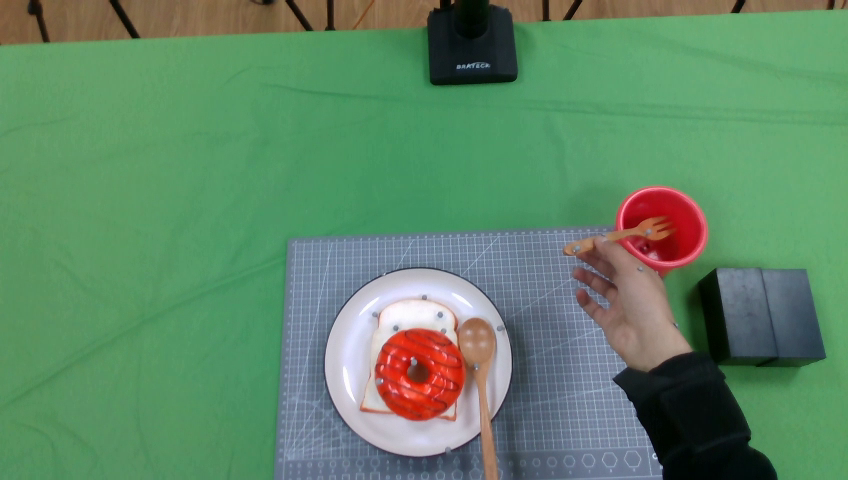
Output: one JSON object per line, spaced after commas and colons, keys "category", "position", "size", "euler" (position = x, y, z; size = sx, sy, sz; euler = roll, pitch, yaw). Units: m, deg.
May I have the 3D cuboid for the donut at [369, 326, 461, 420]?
{"category": "donut", "position": [-0.009, 0.139, 0.641], "size": [0.099, 0.048, 0.098], "euler": [1, 73, -2]}

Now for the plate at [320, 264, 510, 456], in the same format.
{"category": "plate", "position": [-0.009, 0.131, 0.673], "size": [0.209, 0.038, 0.207], "euler": [0, 69, 1]}

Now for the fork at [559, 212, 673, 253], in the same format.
{"category": "fork", "position": [0.210, -0.007, 0.648], "size": [0.208, 0.018, 0.028], "euler": [-10, 70, -42]}

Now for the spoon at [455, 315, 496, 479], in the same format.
{"category": "spoon", "position": [0.059, 0.170, 0.642], "size": [0.041, 0.022, 0.192], "euler": [-5, 56, 3]}

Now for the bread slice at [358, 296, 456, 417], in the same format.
{"category": "bread slice", "position": [-0.016, 0.127, 0.677], "size": [0.105, 0.019, 0.130], "euler": [4, 71, 1]}
